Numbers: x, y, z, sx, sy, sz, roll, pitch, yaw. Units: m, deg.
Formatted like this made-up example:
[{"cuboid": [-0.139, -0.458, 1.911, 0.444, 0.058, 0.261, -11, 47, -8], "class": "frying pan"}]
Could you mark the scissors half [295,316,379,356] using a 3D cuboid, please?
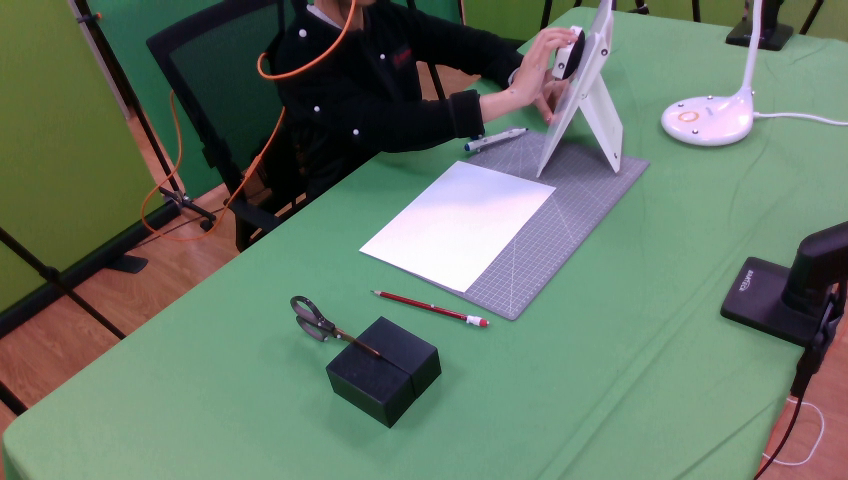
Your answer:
[{"cuboid": [-0.119, 0.132, 0.813, 0.173, 0.040, 0.013, 9, 34, 45], "class": "scissors half"}]

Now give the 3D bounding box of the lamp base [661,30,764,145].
[{"cuboid": [0.535, -0.287, 1.096, 0.179, 0.181, 0.159, -10, 40, -4], "class": "lamp base"}]

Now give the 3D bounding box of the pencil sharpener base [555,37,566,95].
[{"cuboid": [0.318, -0.371, 1.290, 0.061, 0.107, 0.076, 10, 43, 22], "class": "pencil sharpener base"}]

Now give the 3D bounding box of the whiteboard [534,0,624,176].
[{"cuboid": [0.323, -0.260, 1.051, 0.144, 0.306, 0.217, 21, 43, 3], "class": "whiteboard"}]

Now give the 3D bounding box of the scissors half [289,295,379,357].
[{"cuboid": [-0.122, 0.114, 0.803, 0.174, 0.040, 0.013, 26, 50, 32], "class": "scissors half"}]

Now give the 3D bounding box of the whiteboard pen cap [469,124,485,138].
[{"cuboid": [0.106, -0.220, 1.224, 0.033, 0.018, 0.018, -38, 48, -23], "class": "whiteboard pen cap"}]

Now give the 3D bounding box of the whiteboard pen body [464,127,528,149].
[{"cuboid": [0.144, -0.203, 1.192, 0.141, 0.017, 0.017, -18, 41, -15], "class": "whiteboard pen body"}]

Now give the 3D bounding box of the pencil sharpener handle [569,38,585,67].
[{"cuboid": [0.332, -0.413, 1.317, 0.036, 0.068, 0.030, 20, 46, 12], "class": "pencil sharpener handle"}]

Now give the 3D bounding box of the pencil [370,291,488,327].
[{"cuboid": [0.003, 0.097, 0.877, 0.193, 0.012, 0.012, 13, 45, 26], "class": "pencil"}]

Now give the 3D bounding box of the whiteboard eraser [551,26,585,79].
[{"cuboid": [0.261, -0.335, 1.080, 0.042, 0.056, 0.112, 18, 44, 10], "class": "whiteboard eraser"}]
